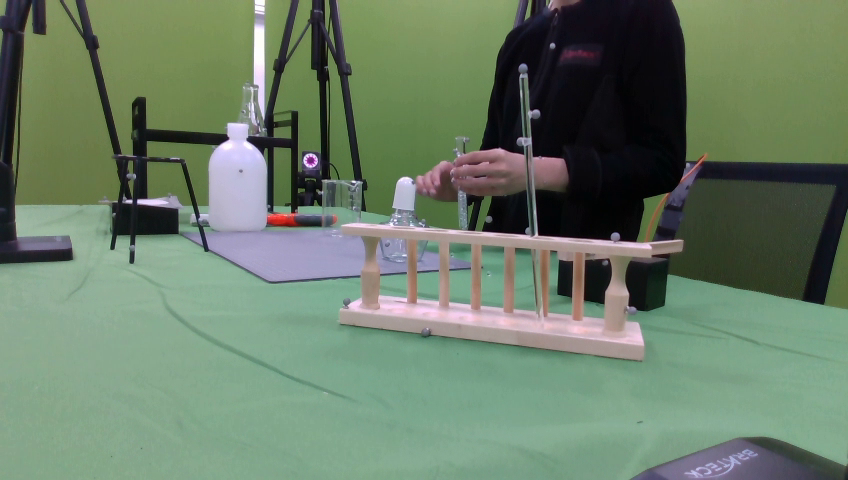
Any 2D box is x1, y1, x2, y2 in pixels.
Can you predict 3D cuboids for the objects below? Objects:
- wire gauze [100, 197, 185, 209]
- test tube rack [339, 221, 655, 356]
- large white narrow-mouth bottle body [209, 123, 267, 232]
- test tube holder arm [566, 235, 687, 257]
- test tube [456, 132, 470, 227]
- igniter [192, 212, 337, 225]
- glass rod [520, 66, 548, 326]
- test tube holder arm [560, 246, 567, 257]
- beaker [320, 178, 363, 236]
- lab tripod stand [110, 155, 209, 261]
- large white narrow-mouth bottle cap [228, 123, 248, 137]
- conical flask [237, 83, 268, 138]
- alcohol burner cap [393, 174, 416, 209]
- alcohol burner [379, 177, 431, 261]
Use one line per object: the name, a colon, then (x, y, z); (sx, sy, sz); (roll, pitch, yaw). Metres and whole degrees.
wire gauze: (-0.469, -0.062, 1.008); (0.126, 0.011, 0.121); (-2, 8, -25)
test tube rack: (0.056, 0.032, 0.495); (0.242, 0.085, 0.067); (4, 7, 15)
large white narrow-mouth bottle body: (-0.340, -0.115, 1.109); (0.102, 0.194, 0.102); (2, 8, 0)
test tube holder arm: (0.215, 0.006, 0.630); (0.179, 0.015, 0.013); (-3, 9, -31)
test tube: (0.061, -0.093, 0.943); (0.017, 0.150, 0.017); (-4, 17, 1)
igniter: (-0.311, -0.043, 1.203); (0.278, 0.025, 0.057); (-1, -5, -25)
glass rod: (0.084, -0.029, 0.458); (0.008, 0.199, 0.008); (-6, 11, 2)
test tube holder arm: (0.173, 0.007, 0.611); (0.088, 0.015, 0.010); (-3, 9, -30)
beaker: (-0.145, -0.059, 1.078); (0.074, 0.100, 0.083); (-4, 10, -36)
lab tripod stand: (-0.361, -0.046, 0.806); (0.148, 0.131, 0.148); (2, 5, 0)
large white narrow-mouth bottle cap: (-0.338, -0.199, 1.097); (0.038, 0.024, 0.037); (2, 8, 0)
conical flask: (-0.402, -0.299, 1.406); (0.075, 0.122, 0.075); (2, 7, 0)
alcohol burner cap: (-0.025, -0.067, 0.834); (0.034, 0.048, 0.034); (8, 8, -1)
alcohol burner: (-0.027, -0.031, 0.838); (0.078, 0.119, 0.078); (0, 6, 0)
